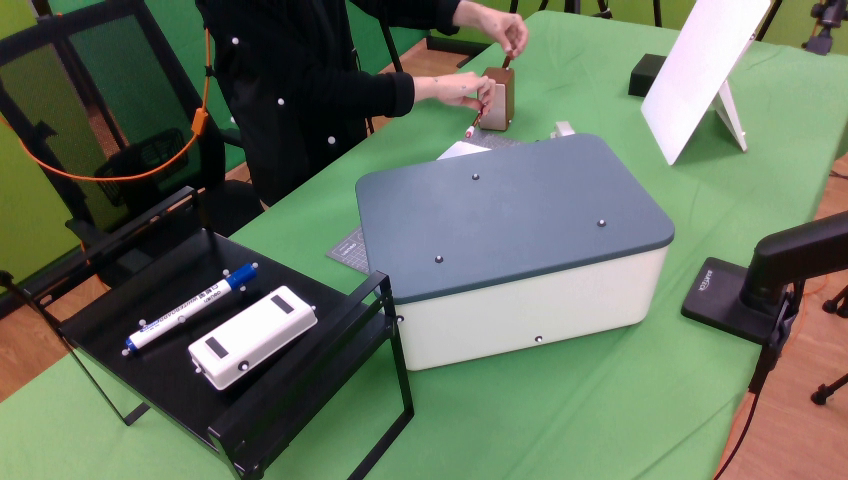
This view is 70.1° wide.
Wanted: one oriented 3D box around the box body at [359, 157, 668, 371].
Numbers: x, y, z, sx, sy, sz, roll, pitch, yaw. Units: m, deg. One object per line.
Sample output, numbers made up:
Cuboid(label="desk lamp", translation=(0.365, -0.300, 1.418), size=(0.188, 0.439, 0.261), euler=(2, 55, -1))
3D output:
Cuboid(label="box body", translation=(0.108, 0.014, 0.833), size=(0.365, 0.161, 0.252), euler=(-11, 41, -5))

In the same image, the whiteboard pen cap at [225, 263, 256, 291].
Cuboid(label="whiteboard pen cap", translation=(-0.204, 0.041, 0.668), size=(0.033, 0.018, 0.018), euler=(-36, 48, -22))

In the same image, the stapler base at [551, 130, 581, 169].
Cuboid(label="stapler base", translation=(0.268, -0.178, 1.142), size=(0.041, 0.024, 0.130), euler=(0, 37, 3))

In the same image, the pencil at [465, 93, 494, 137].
Cuboid(label="pencil", translation=(0.108, -0.239, 1.125), size=(0.012, 0.012, 0.194), euler=(9, 39, 18))

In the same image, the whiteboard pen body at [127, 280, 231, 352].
Cuboid(label="whiteboard pen body", translation=(-0.248, 0.072, 0.645), size=(0.141, 0.017, 0.017), euler=(-35, 47, -23))

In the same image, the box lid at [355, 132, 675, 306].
Cuboid(label="box lid", translation=(0.103, -0.042, 0.785), size=(0.372, 0.015, 0.261), euler=(-12, 41, -5))

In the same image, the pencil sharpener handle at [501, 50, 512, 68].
Cuboid(label="pencil sharpener handle", translation=(0.165, -0.352, 1.233), size=(0.036, 0.068, 0.030), euler=(20, 45, 7))

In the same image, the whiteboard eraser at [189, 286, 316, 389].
Cuboid(label="whiteboard eraser", translation=(-0.166, 0.096, 0.593), size=(0.113, 0.042, 0.055), euler=(-36, 47, -29))

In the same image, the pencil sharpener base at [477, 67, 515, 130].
Cuboid(label="pencil sharpener base", translation=(0.149, -0.287, 1.226), size=(0.061, 0.107, 0.076), euler=(8, 42, 18))

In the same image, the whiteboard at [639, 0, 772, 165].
Cuboid(label="whiteboard", translation=(0.543, -0.298, 1.076), size=(0.144, 0.305, 0.216), euler=(12, 40, -7))

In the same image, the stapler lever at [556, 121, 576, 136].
Cuboid(label="stapler lever", translation=(0.266, -0.198, 1.128), size=(0.027, 0.040, 0.117), euler=(0, 38, 3))
